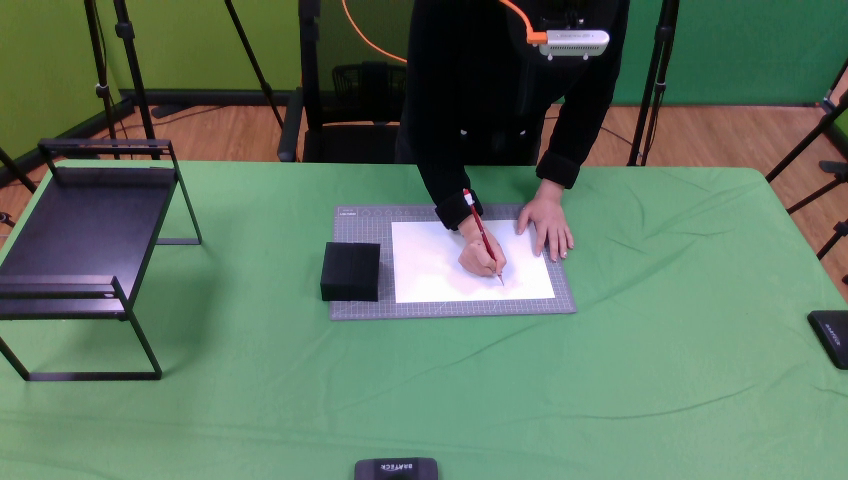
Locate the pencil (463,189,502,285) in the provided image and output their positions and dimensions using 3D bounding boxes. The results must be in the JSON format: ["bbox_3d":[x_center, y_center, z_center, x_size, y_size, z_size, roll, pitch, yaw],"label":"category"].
[{"bbox_3d":[0.111,-0.005,1.124,0.012,0.194,0.012,-21,7,3],"label":"pencil"}]
